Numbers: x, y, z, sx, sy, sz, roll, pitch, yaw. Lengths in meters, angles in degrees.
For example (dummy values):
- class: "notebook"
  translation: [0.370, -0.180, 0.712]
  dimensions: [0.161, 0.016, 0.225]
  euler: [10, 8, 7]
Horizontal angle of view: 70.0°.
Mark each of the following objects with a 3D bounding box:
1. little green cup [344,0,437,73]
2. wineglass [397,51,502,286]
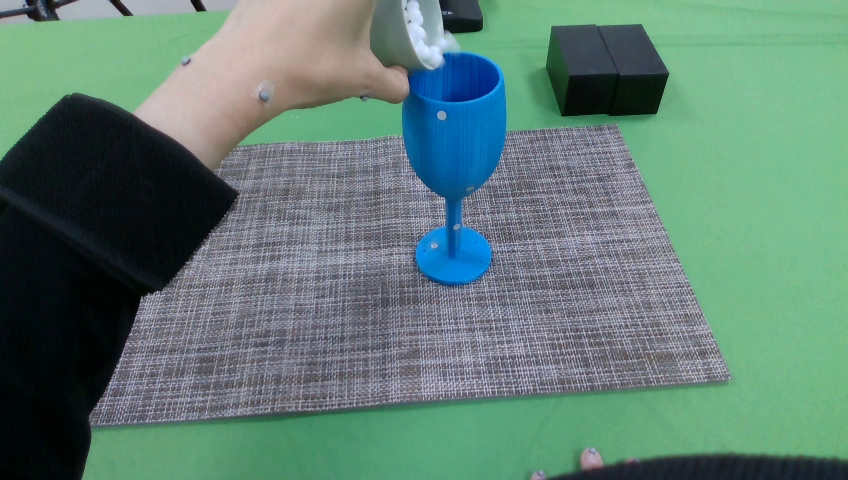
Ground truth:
- class: "little green cup"
  translation: [-0.020, -0.132, 0.371]
  dimensions: [0.038, 0.062, 0.061]
  euler: [-3, 45, 23]
- class: "wineglass"
  translation: [0.019, -0.045, 0.447]
  dimensions: [0.074, 0.174, 0.073]
  euler: [-1, 47, 1]
